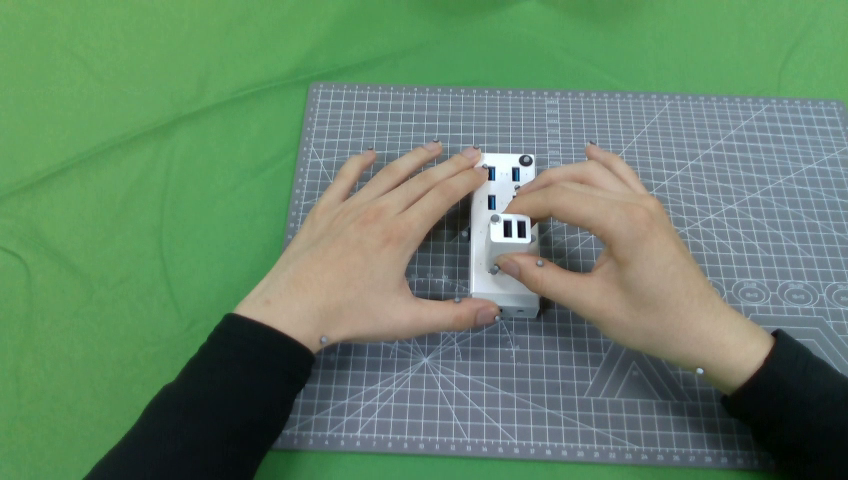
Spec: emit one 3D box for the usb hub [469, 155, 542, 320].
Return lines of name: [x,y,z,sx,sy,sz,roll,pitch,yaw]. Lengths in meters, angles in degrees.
usb hub: [0.058,-0.005,0.440,0.049,0.025,0.124,3,63,0]

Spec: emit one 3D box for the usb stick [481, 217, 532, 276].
usb stick: [0.052,0.008,0.396,0.027,0.059,0.021,2,62,-5]
